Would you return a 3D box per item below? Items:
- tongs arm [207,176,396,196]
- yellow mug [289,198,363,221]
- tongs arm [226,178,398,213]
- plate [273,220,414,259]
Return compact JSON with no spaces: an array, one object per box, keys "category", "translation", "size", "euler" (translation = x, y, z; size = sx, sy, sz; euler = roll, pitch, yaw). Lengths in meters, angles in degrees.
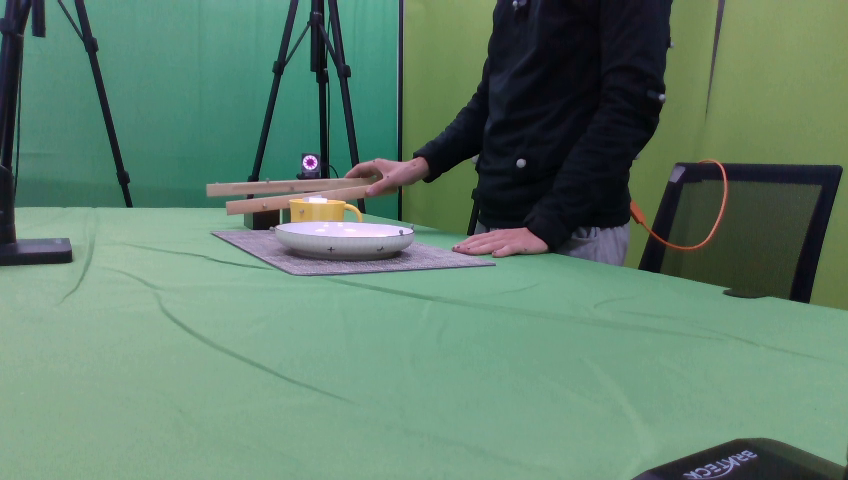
[{"category":"tongs arm","translation":[-0.241,-0.110,1.246],"size":[0.387,0.026,0.050],"euler":[-6,17,-28]},{"category":"yellow mug","translation":[-0.174,-0.039,1.072],"size":[0.131,0.064,0.100],"euler":[3,7,0]},{"category":"tongs arm","translation":[-0.200,-0.089,1.184],"size":[0.390,0.028,0.028],"euler":[-11,17,-38]},{"category":"plate","translation":[-0.118,-0.001,0.903],"size":[0.208,0.039,0.207],"euler":[3,7,0]}]
